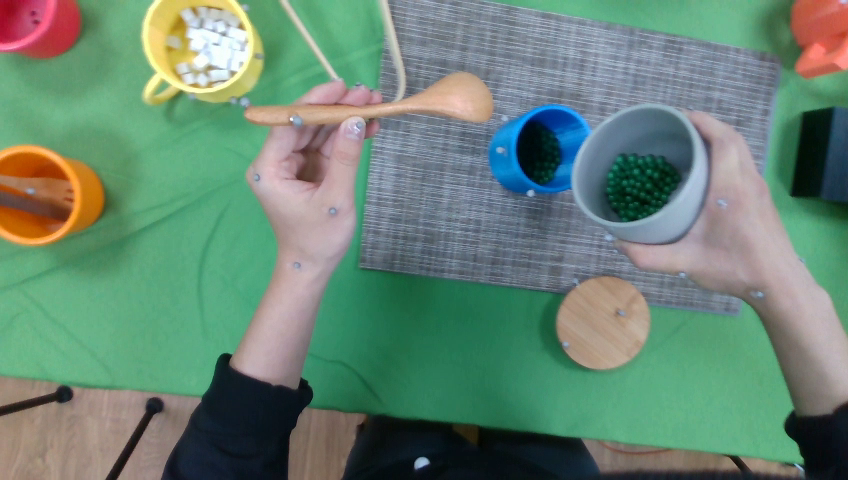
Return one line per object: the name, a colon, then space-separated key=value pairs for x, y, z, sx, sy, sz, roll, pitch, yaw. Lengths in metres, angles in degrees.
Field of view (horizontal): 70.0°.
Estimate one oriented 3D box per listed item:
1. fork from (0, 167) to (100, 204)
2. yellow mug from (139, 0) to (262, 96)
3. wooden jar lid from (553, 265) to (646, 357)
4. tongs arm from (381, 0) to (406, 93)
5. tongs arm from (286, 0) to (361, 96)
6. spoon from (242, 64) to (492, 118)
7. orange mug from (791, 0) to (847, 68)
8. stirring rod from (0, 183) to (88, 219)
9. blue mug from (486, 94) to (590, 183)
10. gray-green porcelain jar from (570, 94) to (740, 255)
fork: x=-0.399 y=-0.066 z=0.541 sx=0.209 sy=0.018 sz=0.028 roll=17 pitch=94 yaw=-52
yellow mug: x=-0.226 y=-0.187 z=0.591 sx=0.131 sy=0.064 sz=0.100 roll=-44 pitch=99 yaw=1
wooden jar lid: x=0.199 y=0.080 z=0.694 sx=0.108 sy=0.020 sz=0.108 roll=-1 pitch=99 yaw=-5
tongs arm: x=-0.075 y=-0.335 z=0.591 sx=0.028 sy=0.027 sz=0.389 roll=-19 pitch=105 yaw=-13
tongs arm: x=-0.150 y=-0.297 z=0.583 sx=0.051 sy=0.026 sz=0.387 roll=-32 pitch=106 yaw=-6
spoon: x=-0.028 y=-0.097 z=0.415 sx=0.194 sy=0.021 sz=0.041 roll=-15 pitch=83 yaw=-29
orange mug: x=0.459 y=-0.247 z=0.651 sx=0.084 sy=0.100 sz=0.126 roll=30 pitch=88 yaw=-8
stirring rod: x=-0.394 y=-0.047 z=0.547 sx=0.006 sy=0.178 sz=0.014 roll=4 pitch=79 yaw=36
blue mug: x=0.128 y=-0.091 z=0.621 sx=0.117 sy=0.105 sz=0.082 roll=33 pitch=91 yaw=-9
gray-green porcelain jar: x=0.202 y=-0.049 z=0.519 sx=0.128 sy=0.105 sz=0.106 roll=24 pitch=93 yaw=-44
